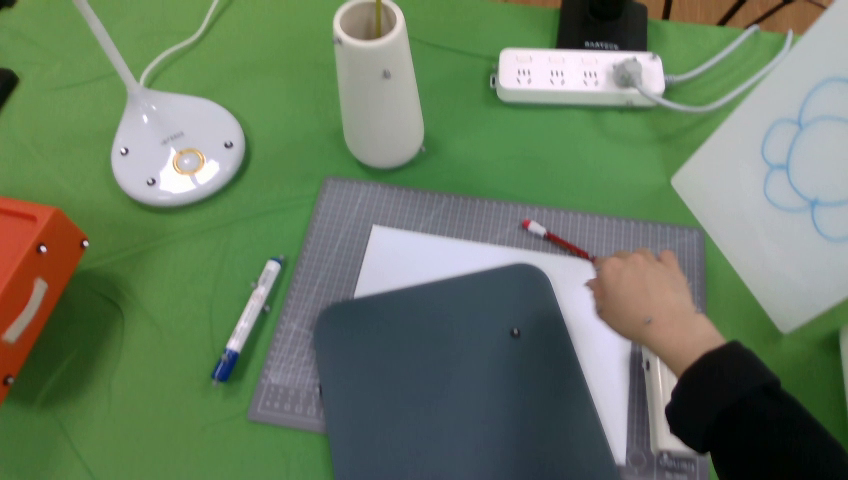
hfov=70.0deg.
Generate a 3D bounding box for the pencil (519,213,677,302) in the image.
[{"bbox_3d":[0.192,0.019,0.675,0.193,0.012,0.012,31,67,14],"label":"pencil"}]

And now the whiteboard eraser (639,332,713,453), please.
[{"bbox_3d":[0.243,0.147,0.590,0.055,0.042,0.112,4,63,1],"label":"whiteboard eraser"}]

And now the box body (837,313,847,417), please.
[{"bbox_3d":[0.515,0.208,0.488,0.254,0.161,0.361,8,63,5],"label":"box body"}]

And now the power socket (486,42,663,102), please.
[{"bbox_3d":[0.195,-0.218,0.785,0.227,0.033,0.071,3,64,2],"label":"power socket"}]

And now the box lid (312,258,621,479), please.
[{"bbox_3d":[0.043,0.199,0.586,0.263,0.015,0.368,-12,64,-5],"label":"box lid"}]

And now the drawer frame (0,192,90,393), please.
[{"bbox_3d":[-0.483,0.044,0.589,0.213,0.083,0.200,12,64,5],"label":"drawer frame"}]

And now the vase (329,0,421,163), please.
[{"bbox_3d":[-0.056,-0.174,0.674,0.098,0.201,0.097,-1,62,2],"label":"vase"}]

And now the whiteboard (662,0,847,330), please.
[{"bbox_3d":[0.431,-0.087,0.595,0.144,0.307,0.215,-12,61,-26],"label":"whiteboard"}]

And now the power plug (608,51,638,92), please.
[{"bbox_3d":[0.244,-0.201,0.749,0.035,0.053,0.072,12,65,8],"label":"power plug"}]

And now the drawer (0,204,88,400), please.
[{"bbox_3d":[-0.477,0.043,0.587,0.211,0.074,0.193,11,64,7],"label":"drawer"}]

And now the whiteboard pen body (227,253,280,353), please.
[{"bbox_3d":[-0.186,0.075,0.648,0.017,0.017,0.140,13,60,8],"label":"whiteboard pen body"}]

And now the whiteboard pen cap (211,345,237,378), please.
[{"bbox_3d":[-0.203,0.123,0.619,0.018,0.018,0.033,13,58,8],"label":"whiteboard pen cap"}]

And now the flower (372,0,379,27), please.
[{"bbox_3d":[-0.048,-0.227,0.609,0.038,0.365,0.043,-2,44,-7],"label":"flower"}]

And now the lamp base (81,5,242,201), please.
[{"bbox_3d":[-0.316,-0.160,0.682,0.178,0.182,0.160,40,70,22],"label":"lamp base"}]
